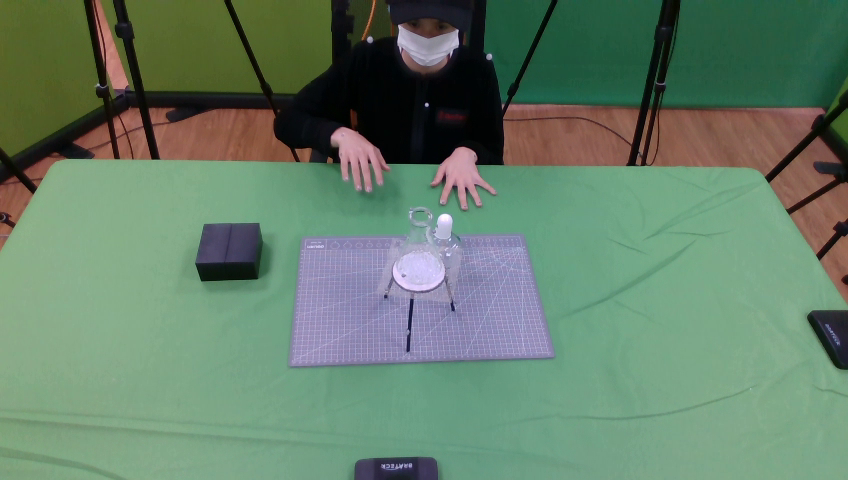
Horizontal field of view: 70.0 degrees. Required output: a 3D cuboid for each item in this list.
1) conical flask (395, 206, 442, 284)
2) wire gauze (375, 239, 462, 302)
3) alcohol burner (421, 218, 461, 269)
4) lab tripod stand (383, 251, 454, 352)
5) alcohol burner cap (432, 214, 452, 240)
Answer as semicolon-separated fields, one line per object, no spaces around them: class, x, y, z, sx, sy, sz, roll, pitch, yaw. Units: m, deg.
conical flask;-0.007;0.005;0.937;0.075;0.122;0.075;2;45;-1
wire gauze;-0.006;0.049;0.977;0.121;0.011;0.124;10;44;5
alcohol burner;0.033;-0.001;1.135;0.078;0.119;0.077;3;48;-3
lab tripod stand;-0.015;0.094;1.025;0.148;0.132;0.147;1;46;-1
alcohol burner cap;0.035;-0.027;1.110;0.034;0.048;0.033;7;42;-6
